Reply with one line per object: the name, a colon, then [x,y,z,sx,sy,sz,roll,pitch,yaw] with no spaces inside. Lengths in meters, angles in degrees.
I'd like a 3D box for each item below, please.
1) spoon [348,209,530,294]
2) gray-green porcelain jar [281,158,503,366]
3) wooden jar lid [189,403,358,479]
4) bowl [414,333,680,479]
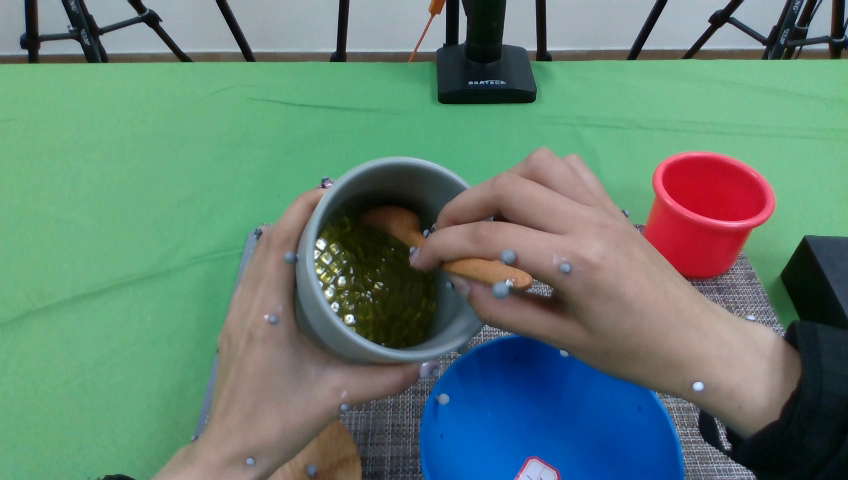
spoon: [0.002,0.004,0.312,0.042,0.022,0.192,-5,14,-23]
gray-green porcelain jar: [-0.028,0.021,0.359,0.106,0.126,0.105,4,77,-19]
wooden jar lid: [-0.097,0.158,0.394,0.108,0.021,0.107,0,45,0]
bowl: [0.069,0.140,0.374,0.151,0.077,0.150,1,46,0]
